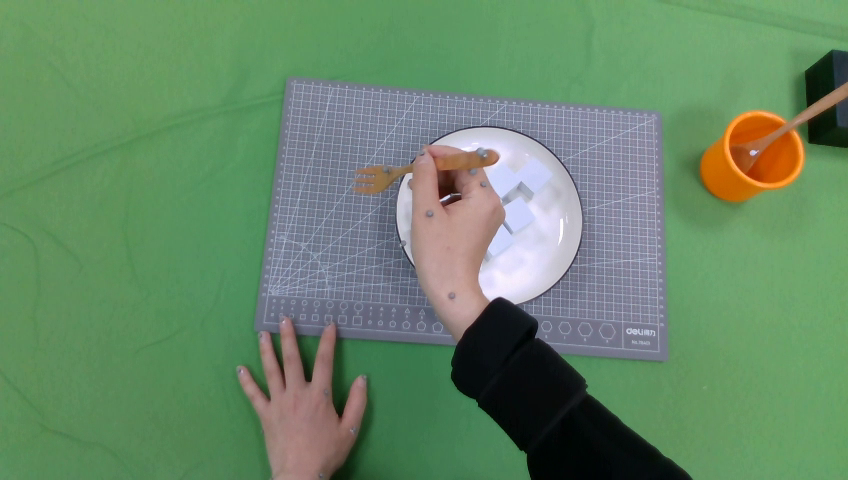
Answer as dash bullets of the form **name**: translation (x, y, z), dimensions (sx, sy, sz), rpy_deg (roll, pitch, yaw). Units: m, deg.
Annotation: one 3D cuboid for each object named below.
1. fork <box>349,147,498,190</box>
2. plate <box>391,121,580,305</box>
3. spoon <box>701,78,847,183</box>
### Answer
- **fork**: translation (-0.010, -0.061, 0.509), dimensions (0.019, 0.206, 0.028), rpy_deg (21, 79, -31)
- **plate**: translation (0.067, -0.029, 0.672), dimensions (0.208, 0.039, 0.206), rpy_deg (1, 77, -4)
- **spoon**: translation (0.396, -0.125, 0.665), dimensions (0.022, 0.194, 0.041), rpy_deg (-7, 65, -50)
